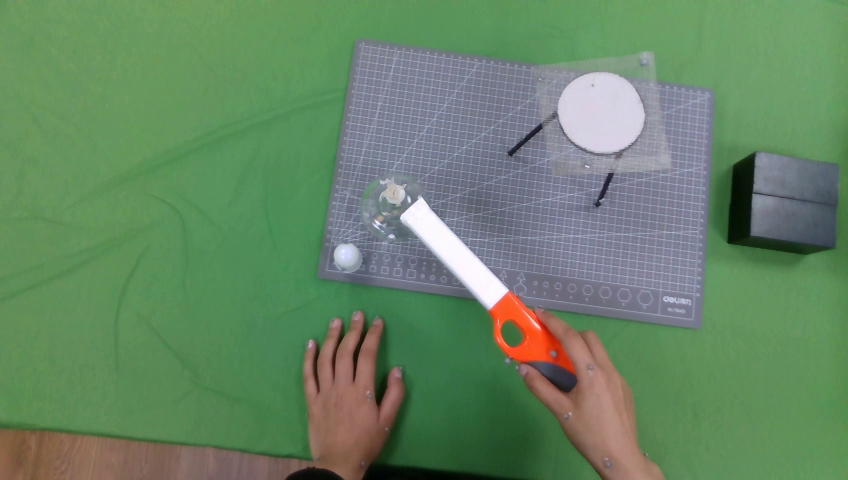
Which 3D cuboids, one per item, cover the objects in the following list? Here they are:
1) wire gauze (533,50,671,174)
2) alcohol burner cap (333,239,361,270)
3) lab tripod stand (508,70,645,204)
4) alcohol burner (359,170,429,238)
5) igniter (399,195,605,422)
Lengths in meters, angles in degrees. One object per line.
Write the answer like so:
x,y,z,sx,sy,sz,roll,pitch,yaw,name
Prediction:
0.177,-0.126,0.602,0.125,0.011,0.121,-5,81,-3,wire gauze
-0.088,0.015,0.681,0.034,0.048,0.033,0,81,-2,alcohol burner cap
0.176,-0.121,0.669,0.148,0.132,0.147,0,79,-1,lab tripod stand
-0.032,-0.042,0.657,0.078,0.119,0.077,0,82,-3,alcohol burner
0.079,0.067,0.595,0.057,0.025,0.276,-43,87,-10,igniter
